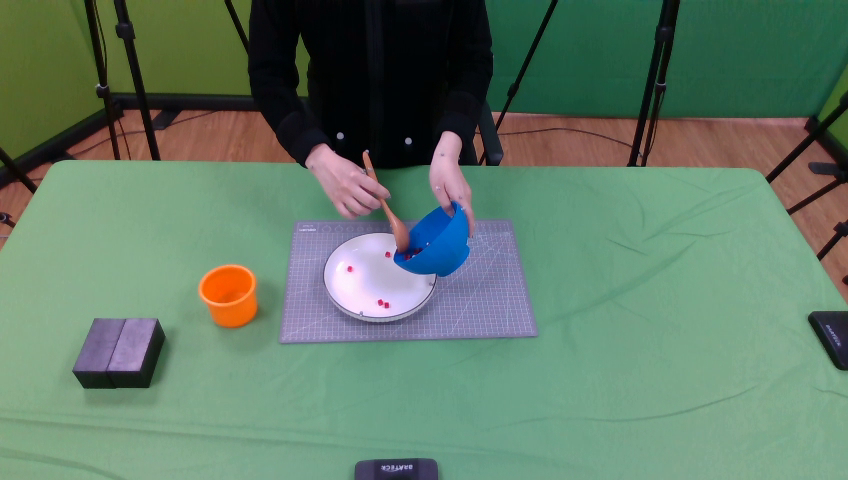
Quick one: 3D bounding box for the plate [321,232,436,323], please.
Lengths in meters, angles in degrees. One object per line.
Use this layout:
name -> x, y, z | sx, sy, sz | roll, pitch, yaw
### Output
plate -> -0.083, 0.070, 1.109 | 0.209, 0.038, 0.208 | 3, 46, -2

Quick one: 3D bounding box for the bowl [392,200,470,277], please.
bowl -> 0.026, 0.011, 1.041 | 0.077, 0.151, 0.151 | 46, 47, -17

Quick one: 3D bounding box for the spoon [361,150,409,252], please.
spoon -> -0.068, -0.064, 1.035 | 0.021, 0.194, 0.041 | -7, 28, 40
